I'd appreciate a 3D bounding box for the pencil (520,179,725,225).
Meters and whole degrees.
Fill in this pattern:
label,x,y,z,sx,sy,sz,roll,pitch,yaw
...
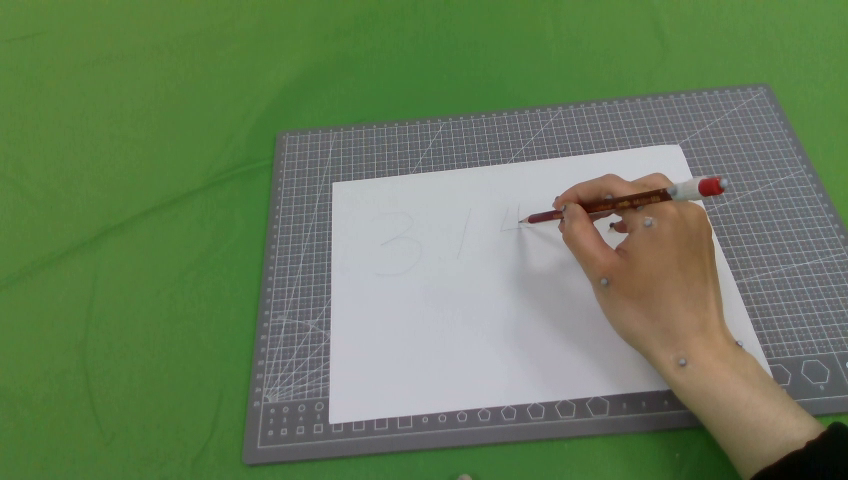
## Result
label,x,y,z,sx,sy,sz,roll,pitch,yaw
pencil,0.113,-0.020,0.393,0.012,0.193,0.012,1,86,-22
